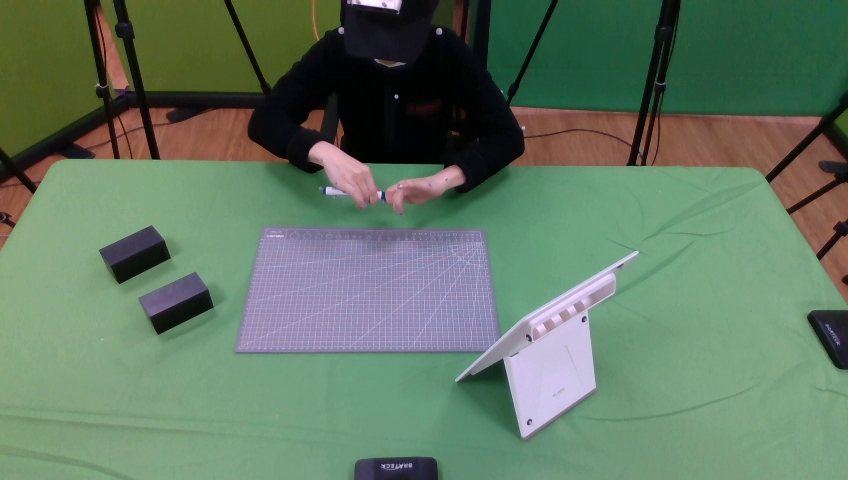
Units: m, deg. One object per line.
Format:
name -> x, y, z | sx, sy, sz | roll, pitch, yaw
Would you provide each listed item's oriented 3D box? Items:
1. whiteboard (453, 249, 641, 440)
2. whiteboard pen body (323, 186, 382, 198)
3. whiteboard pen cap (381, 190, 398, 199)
whiteboard -> 0.206, 0.174, 0.890 | 0.217, 0.306, 0.143 | -25, 72, -25
whiteboard pen body -> -0.127, -0.092, 1.179 | 0.141, 0.017, 0.017 | 5, 46, -4
whiteboard pen cap -> -0.068, -0.088, 1.181 | 0.033, 0.018, 0.018 | 2, 46, 2
